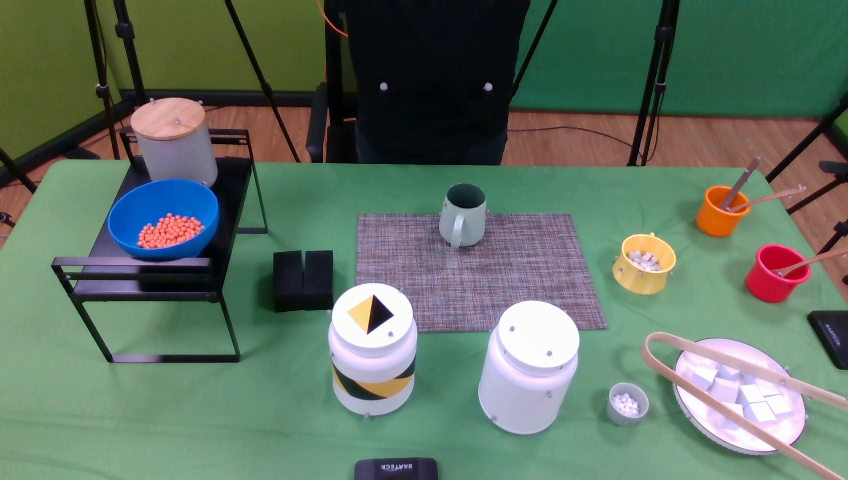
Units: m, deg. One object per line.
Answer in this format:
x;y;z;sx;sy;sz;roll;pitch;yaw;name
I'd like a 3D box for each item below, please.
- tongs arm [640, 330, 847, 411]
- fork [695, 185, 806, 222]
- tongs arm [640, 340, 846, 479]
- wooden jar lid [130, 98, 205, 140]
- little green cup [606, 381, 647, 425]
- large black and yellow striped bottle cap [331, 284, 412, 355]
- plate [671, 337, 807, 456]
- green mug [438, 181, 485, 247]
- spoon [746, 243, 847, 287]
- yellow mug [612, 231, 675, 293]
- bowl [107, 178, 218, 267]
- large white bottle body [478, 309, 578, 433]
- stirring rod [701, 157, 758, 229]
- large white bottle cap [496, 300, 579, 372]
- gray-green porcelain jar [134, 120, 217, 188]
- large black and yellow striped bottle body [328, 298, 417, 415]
0.543;0.226;0.969;0.384;0.026;0.050;22;52;13;tongs arm
0.657;-0.074;1.230;0.207;0.019;0.028;-23;36;37;fork
0.500;0.277;0.919;0.386;0.028;0.028;34;59;22;tongs arm
-0.393;-0.183;0.934;0.108;0.021;0.107;2;44;-2;wooden jar lid
0.319;0.261;0.962;0.061;0.039;0.061;2;45;-2;little green cup
-0.073;0.110;0.858;0.115;0.019;0.114;2;46;-2;large black and yellow striped bottle cap
0.503;0.254;0.984;0.208;0.039;0.206;2;46;-2;plate
0.071;-0.039;1.178;0.092;0.105;0.124;12;47;7;green mug
0.702;0.044;1.126;0.194;0.022;0.041;-29;38;30;spoon
0.424;0.033;1.168;0.100;0.064;0.130;18;47;14;yellow mug
-0.374;-0.014;0.893;0.151;0.077;0.150;2;46;-2;bowl
0.156;0.192;0.913;0.131;0.185;0.130;2;46;-2;large white bottle body
0.634;-0.097;1.257;0.014;0.006;0.176;38;97;30;stirring rod
0.160;0.133;0.852;0.115;0.018;0.114;3;46;-2;large white bottle cap
-0.397;-0.141;0.980;0.106;0.127;0.105;2;47;-2;gray-green porcelain jar
-0.078;0.167;0.920;0.131;0.185;0.130;2;46;-2;large black and yellow striped bottle body
